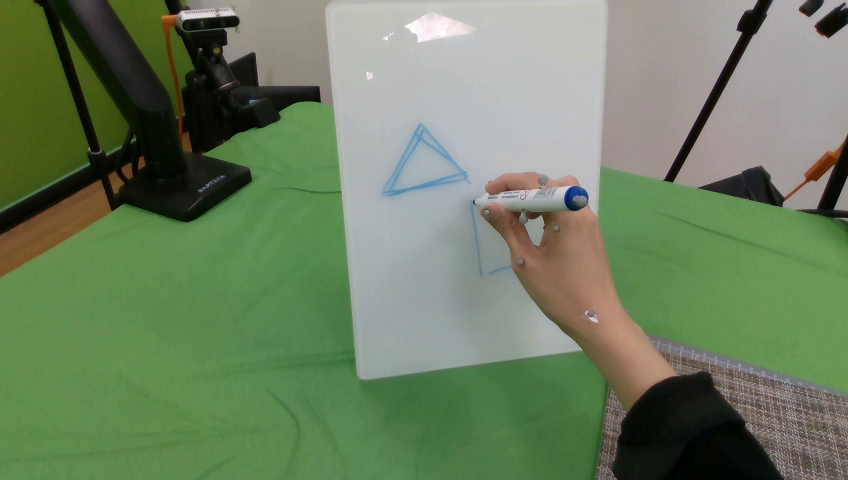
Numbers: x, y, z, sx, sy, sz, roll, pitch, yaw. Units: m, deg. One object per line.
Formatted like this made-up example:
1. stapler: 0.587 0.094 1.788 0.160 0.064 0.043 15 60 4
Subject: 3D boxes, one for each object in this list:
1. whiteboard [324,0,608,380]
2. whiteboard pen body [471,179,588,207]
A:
1. whiteboard: 0.031 -0.056 0.551 0.218 0.307 0.143 -6 18 -10
2. whiteboard pen body: 0.066 -0.031 0.423 0.017 0.017 0.140 -15 8 -21
